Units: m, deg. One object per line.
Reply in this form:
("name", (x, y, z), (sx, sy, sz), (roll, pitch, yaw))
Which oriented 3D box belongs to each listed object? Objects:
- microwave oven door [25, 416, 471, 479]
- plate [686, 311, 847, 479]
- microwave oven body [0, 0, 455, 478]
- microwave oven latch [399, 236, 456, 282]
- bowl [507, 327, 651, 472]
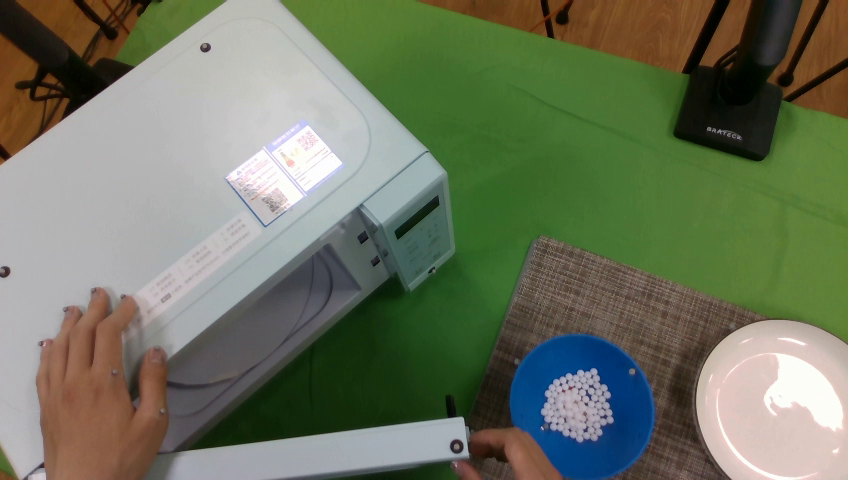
("microwave oven door", (-0.134, 0.207, 0.585), (0.356, 0.245, 0.039), (-8, 72, 2))
("plate", (0.396, 0.185, 0.674), (0.207, 0.039, 0.206), (-1, 72, 4))
("microwave oven body", (-0.235, -0.004, 0.669), (0.441, 0.262, 0.324), (-41, 74, -8))
("microwave oven latch", (0.004, 0.016, 0.745), (0.079, 0.030, 0.030), (-39, 73, -7))
("bowl", (0.166, 0.178, 0.673), (0.151, 0.077, 0.150), (-1, 72, 4))
